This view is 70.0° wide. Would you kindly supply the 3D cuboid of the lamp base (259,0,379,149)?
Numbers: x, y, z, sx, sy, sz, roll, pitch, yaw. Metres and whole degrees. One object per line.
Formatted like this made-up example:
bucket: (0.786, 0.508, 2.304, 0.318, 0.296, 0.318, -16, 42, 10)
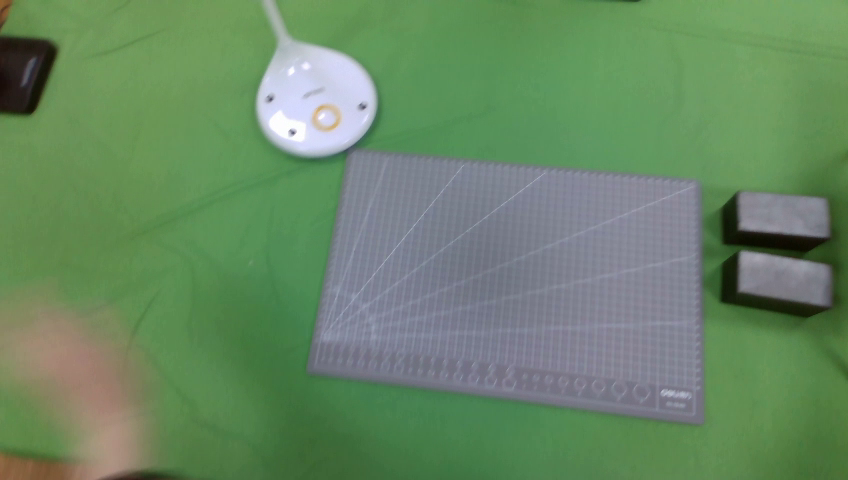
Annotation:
lamp base: (-0.152, -0.228, 0.740, 0.160, 0.181, 0.178, -34, 70, -8)
